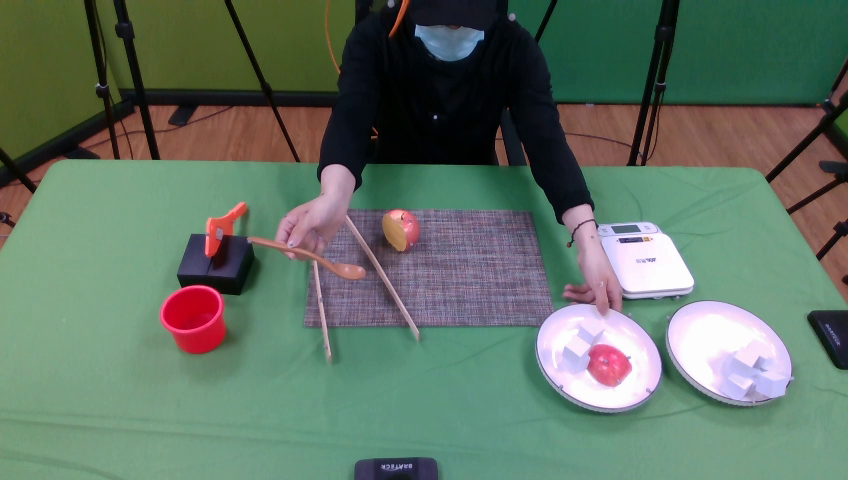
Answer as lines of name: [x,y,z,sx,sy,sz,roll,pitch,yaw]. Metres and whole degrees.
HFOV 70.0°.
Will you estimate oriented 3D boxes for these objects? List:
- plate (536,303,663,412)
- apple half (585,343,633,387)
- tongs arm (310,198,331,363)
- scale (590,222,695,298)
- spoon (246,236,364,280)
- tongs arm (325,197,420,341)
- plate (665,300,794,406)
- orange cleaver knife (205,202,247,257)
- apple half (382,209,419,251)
plate: [0.288,0.197,1.015,0.209,0.038,0.208,2,46,-2]
apple half: [0.309,0.199,1.007,0.081,0.033,0.081,4,48,-4]
tongs arm: [-0.180,0.058,1.116,0.051,0.026,0.382,-10,47,-11]
scale: [0.424,0.031,1.189,0.149,0.032,0.199,-3,46,-7]
spoon: [-0.182,0.025,0.943,0.194,0.021,0.041,24,26,-26]
tongs arm: [-0.101,0.041,1.139,0.028,0.028,0.385,-23,51,-17]
plate: [0.513,0.194,1.033,0.208,0.039,0.206,2,46,-2]
orange cleaver knife: [-0.374,-0.024,1.151,0.012,0.077,0.210,4,16,1]
apple half: [-0.039,-0.022,1.175,0.053,0.075,0.080,-26,50,-31]
